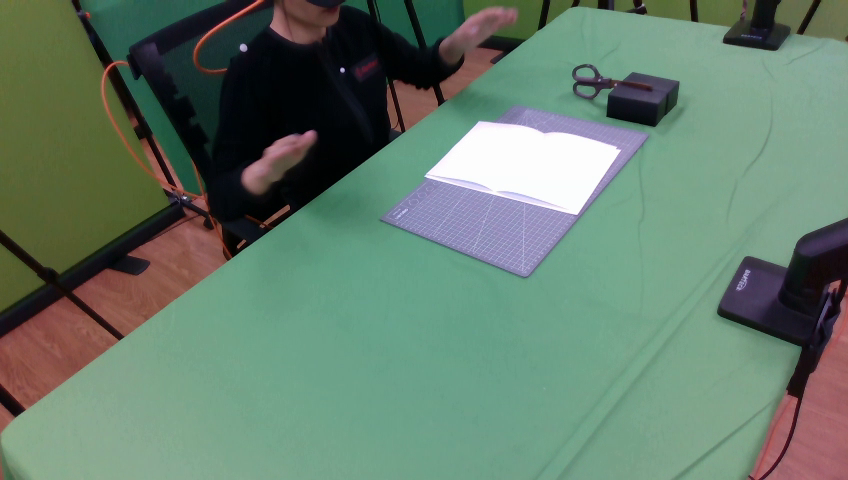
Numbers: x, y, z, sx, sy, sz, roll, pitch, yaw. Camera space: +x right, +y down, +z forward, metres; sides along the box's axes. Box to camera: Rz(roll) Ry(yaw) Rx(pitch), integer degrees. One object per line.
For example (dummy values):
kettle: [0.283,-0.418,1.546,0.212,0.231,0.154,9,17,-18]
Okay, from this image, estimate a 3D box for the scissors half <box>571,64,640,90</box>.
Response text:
scissors half: [0.378,-0.327,1.229,0.174,0.040,0.013,25,48,33]

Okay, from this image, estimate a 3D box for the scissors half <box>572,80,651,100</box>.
scissors half: [0.381,-0.309,1.239,0.174,0.040,0.013,9,32,45]
